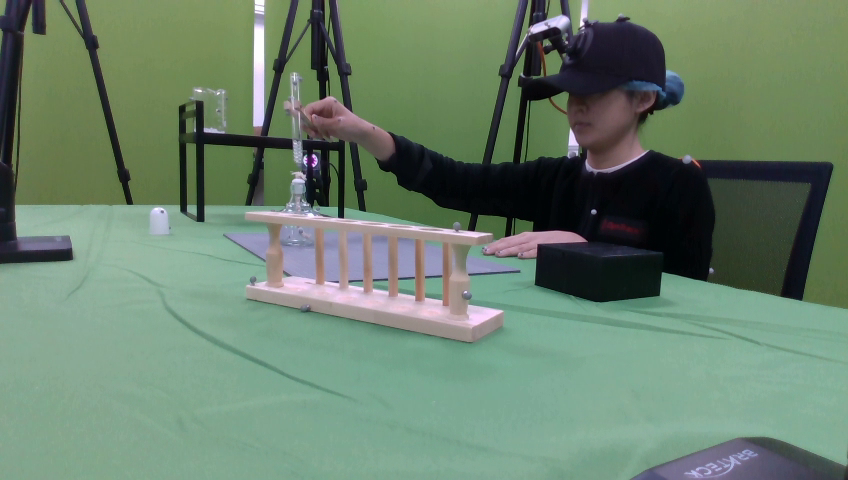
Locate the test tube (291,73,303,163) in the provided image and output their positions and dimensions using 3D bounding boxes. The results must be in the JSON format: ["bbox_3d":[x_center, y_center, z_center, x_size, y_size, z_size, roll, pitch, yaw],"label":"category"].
[{"bbox_3d":[-0.202,-0.194,0.959,0.017,0.150,0.017,-4,-10,0],"label":"test tube"}]

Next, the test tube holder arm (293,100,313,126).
[{"bbox_3d":[-0.195,-0.205,0.984,0.010,0.015,0.088,-2,-8,4],"label":"test tube holder arm"}]

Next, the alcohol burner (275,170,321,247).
[{"bbox_3d":[-0.199,-0.050,0.948,0.078,0.119,0.078,1,8,0],"label":"alcohol burner"}]

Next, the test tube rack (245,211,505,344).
[{"bbox_3d":[-0.049,0.025,0.547,0.241,0.085,0.067,7,8,29],"label":"test tube rack"}]

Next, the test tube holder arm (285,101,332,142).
[{"bbox_3d":[-0.194,-0.199,1.029,0.013,0.015,0.179,-2,-8,11],"label":"test tube holder arm"}]

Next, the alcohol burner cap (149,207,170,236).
[{"bbox_3d":[-0.445,-0.032,1.020,0.034,0.048,0.034,4,8,0],"label":"alcohol burner cap"}]

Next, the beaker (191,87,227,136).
[{"bbox_3d":[-0.476,-0.284,1.345,0.074,0.100,0.083,-3,10,-37],"label":"beaker"}]
